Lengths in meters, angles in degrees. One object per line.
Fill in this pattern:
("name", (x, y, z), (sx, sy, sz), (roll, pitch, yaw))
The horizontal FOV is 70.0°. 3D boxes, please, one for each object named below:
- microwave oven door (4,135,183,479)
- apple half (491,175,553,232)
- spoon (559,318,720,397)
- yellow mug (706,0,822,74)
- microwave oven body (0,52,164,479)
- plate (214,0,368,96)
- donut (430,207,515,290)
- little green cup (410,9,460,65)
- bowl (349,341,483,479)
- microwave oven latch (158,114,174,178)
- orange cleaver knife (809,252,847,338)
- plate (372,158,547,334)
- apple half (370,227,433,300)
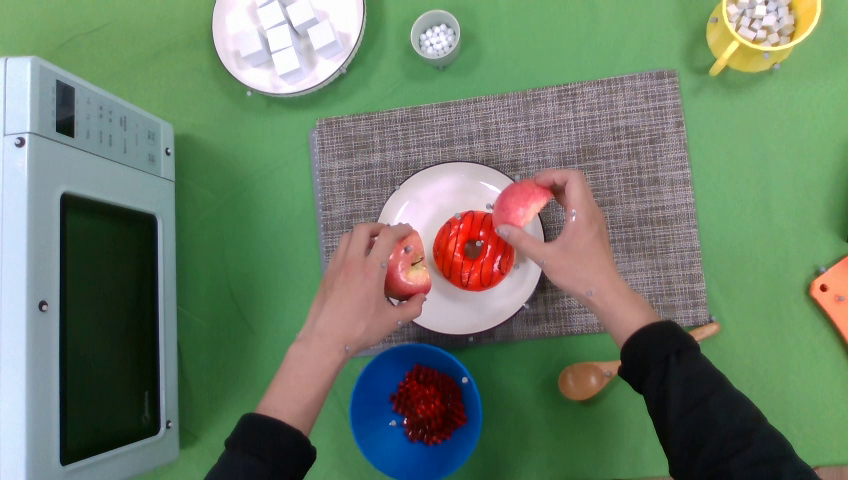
("microwave oven door", (-0.352, 0.087, 0.669), (0.039, 0.245, 0.355), (-5, 84, 10))
("apple half", (0.098, -0.046, 0.644), (0.033, 0.081, 0.081), (43, 93, -16))
("spoon", (0.246, 0.131, 0.689), (0.193, 0.022, 0.041), (-24, 66, 8))
("yellow mug", (0.366, -0.239, 0.677), (0.099, 0.064, 0.131), (42, 94, 11))
("microwave oven body", (-0.497, 0.056, 0.702), (0.325, 0.261, 0.440), (-4, 85, 9))
("plate", (-0.170, -0.286, 0.791), (0.207, 0.039, 0.207), (-1, 85, 10))
("donut", (0.057, 0.010, 0.710), (0.099, 0.048, 0.099), (-1, 87, 11))
("little green cup", (0.017, -0.250, 0.755), (0.061, 0.039, 0.061), (-1, 85, 10))
("bowl", (-0.003, 0.189, 0.701), (0.151, 0.077, 0.151), (-1, 85, 10))
("microwave oven latch", (-0.344, -0.121, 0.789), (0.030, 0.029, 0.079), (-3, 85, 9))
("orange cleaver knife", (0.489, 0.114, 0.649), (0.077, 0.012, 0.210), (-22, 80, 3))
("plate", (0.042, 0.007, 0.724), (0.209, 0.038, 0.208), (-1, 85, 10))
("apple half", (-0.032, 0.030, 0.670), (0.053, 0.074, 0.081), (-15, 98, -26))
